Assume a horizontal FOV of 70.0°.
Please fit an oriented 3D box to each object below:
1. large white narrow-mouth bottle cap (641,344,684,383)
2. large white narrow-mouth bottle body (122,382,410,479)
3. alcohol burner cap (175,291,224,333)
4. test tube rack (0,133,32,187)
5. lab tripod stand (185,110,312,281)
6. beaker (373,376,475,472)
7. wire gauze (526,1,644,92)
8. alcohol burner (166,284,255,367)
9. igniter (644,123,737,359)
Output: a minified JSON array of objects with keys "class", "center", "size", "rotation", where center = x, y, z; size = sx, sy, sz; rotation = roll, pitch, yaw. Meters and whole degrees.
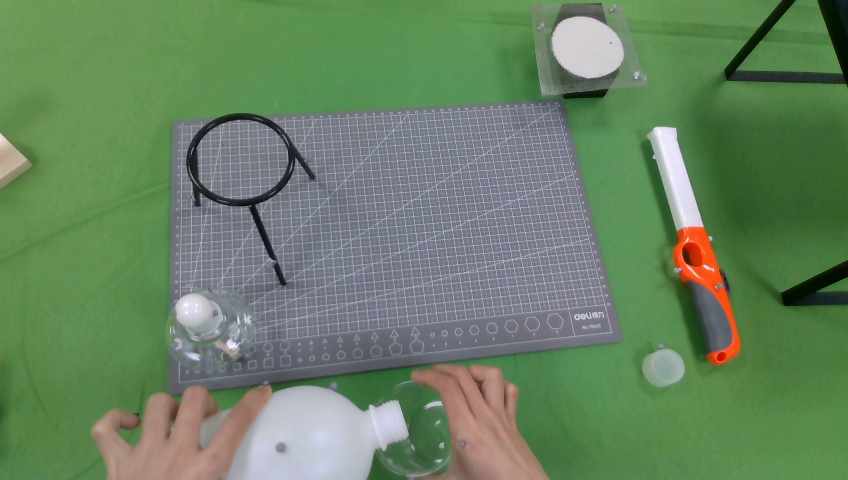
[{"class":"large white narrow-mouth bottle cap","center":[0.242,0.126,0.617],"size":[0.038,0.024,0.037],"rotation":[2,68,-4]},{"class":"large white narrow-mouth bottle body","center":[-0.106,0.162,0.447],"size":[0.195,0.102,0.101],"rotation":[-19,71,-6]},{"class":"alcohol burner cap","center":[-0.189,0.059,0.505],"size":[0.034,0.048,0.033],"rotation":[2,74,-5]},{"class":"test tube rack","center":[-0.513,-0.036,0.564],"size":[0.066,0.085,0.242],"rotation":[41,70,10]},{"class":"lab tripod stand","center":[-0.161,-0.046,0.577],"size":[0.149,0.132,0.147],"rotation":[3,69,-7]},{"class":"beaker","center":[0.001,0.161,0.529],"size":[0.083,0.101,0.073],"rotation":[9,74,17]},{"class":"wire gauze","center":[0.184,-0.227,0.701],"size":[0.122,0.011,0.124],"rotation":[-3,70,-7]},{"class":"alcohol burner","center":[-0.193,0.071,0.538],"size":[0.078,0.120,0.077],"rotation":[3,67,-6]},{"class":"igniter","center":[0.292,-0.006,0.669],"size":[0.057,0.025,0.274],"rotation":[-1,69,-17]}]
